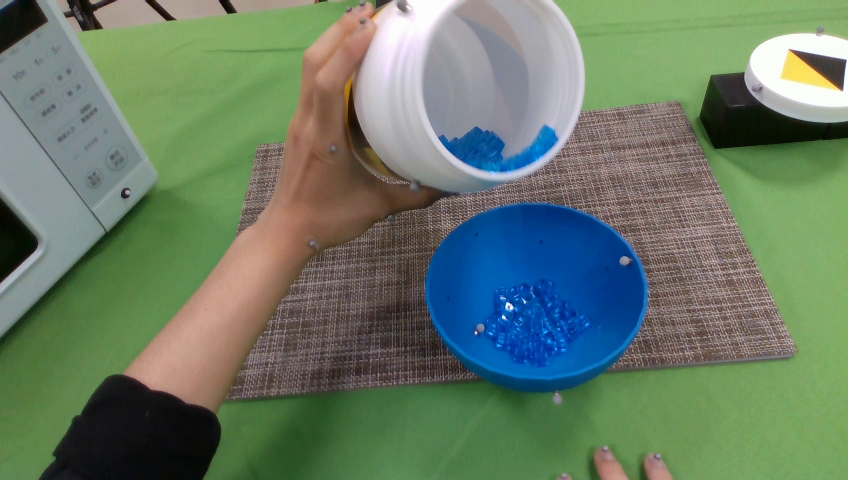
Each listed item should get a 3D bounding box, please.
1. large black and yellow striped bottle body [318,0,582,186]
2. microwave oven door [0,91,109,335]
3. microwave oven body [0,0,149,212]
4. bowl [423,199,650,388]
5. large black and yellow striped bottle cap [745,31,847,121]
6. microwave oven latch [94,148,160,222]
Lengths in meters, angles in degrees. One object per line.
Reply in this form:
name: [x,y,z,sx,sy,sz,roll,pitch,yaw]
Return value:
large black and yellow striped bottle body: [0.009,-0.105,0.414,0.131,0.131,0.182,-29,19,-15]
microwave oven door: [-0.403,0.035,0.393,0.039,0.246,0.354,17,54,21]
microwave oven body: [-0.514,-0.032,0.471,0.324,0.263,0.439,18,55,20]
bowl: [0.078,0.050,0.441,0.151,0.077,0.150,-4,49,5]
large black and yellow striped bottle cap: [0.356,-0.152,0.551,0.115,0.019,0.114,-5,49,6]
microwave oven latch: [-0.293,-0.056,0.589,0.030,0.030,0.079,19,56,21]
